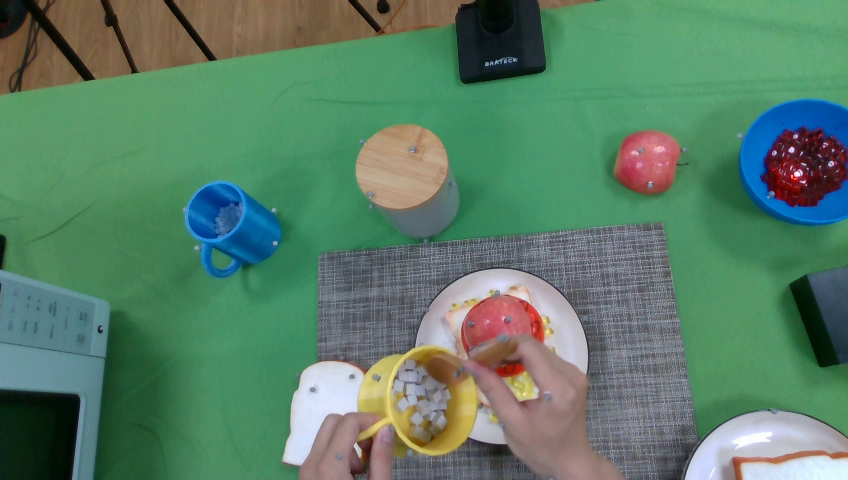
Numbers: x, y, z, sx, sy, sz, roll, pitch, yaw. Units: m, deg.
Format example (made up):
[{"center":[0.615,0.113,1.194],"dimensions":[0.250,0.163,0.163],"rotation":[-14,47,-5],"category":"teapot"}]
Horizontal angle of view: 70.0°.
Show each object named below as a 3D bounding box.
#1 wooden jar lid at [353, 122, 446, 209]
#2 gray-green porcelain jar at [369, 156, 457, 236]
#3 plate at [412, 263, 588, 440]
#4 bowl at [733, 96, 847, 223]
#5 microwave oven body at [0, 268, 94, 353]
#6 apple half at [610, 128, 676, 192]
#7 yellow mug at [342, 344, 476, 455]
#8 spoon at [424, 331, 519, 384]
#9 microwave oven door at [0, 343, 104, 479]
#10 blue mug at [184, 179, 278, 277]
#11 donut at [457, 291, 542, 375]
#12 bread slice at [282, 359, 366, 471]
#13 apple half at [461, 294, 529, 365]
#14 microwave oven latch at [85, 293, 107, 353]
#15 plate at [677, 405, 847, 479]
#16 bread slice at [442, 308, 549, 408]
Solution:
[{"center":[-0.028,-0.084,0.700],"dimensions":[0.108,0.021,0.107],"rotation":[-2,72,7],"category":"wooden jar lid"},{"center":[-0.015,-0.067,0.760],"dimensions":[0.105,0.127,0.105],"rotation":[-3,73,10],"category":"gray-green porcelain jar"},{"center":[0.089,0.132,0.729],"dimensions":[0.207,0.039,0.206],"rotation":[-3,74,10],"category":"plate"},{"center":[0.434,-0.083,0.708],"dimensions":[0.151,0.077,0.150],"rotation":[-3,75,10],"category":"bowl"},{"center":[-0.604,0.268,0.698],"dimensions":[0.325,0.262,0.439],"rotation":[-5,74,9],"category":"microwave oven body"},{"center":[0.275,-0.106,0.757],"dimensions":[0.074,0.054,0.080],"rotation":[16,78,17],"category":"apple half"},{"center":[-0.020,0.160,0.578],"dimensions":[0.131,0.064,0.099],"rotation":[-21,84,-35],"category":"yellow mug"},{"center":[0.039,0.102,0.513],"dimensions":[0.041,0.194,0.021],"rotation":[36,68,-2],"category":"spoon"},{"center":[-0.460,0.294,0.659],"dimensions":[0.039,0.245,0.353],"rotation":[-5,73,9],"category":"microwave oven door"},{"center":[-0.257,-0.007,0.798],"dimensions":[0.082,0.106,0.116],"rotation":[15,78,14],"category":"blue mug"},{"center":[0.088,0.108,0.706],"dimensions":[0.099,0.048,0.098],"rotation":[-3,75,10],"category":"donut"},{"center":[-0.121,0.215,0.755],"dimensions":[0.105,0.019,0.131],"rotation":[2,77,9],"category":"bread slice"},{"center":[0.078,0.098,0.672],"dimensions":[0.081,0.033,0.081],"rotation":[-5,72,15],"category":"apple half"},{"center":[-0.449,0.112,0.815],"dimensions":[0.030,0.030,0.078],"rotation":[-2,75,10],"category":"microwave oven latch"},{"center":[0.373,0.281,0.639],"dimensions":[0.209,0.038,0.208],"rotation":[-3,74,10],"category":"plate"},{"center":[0.092,0.134,0.738],"dimensions":[0.107,0.018,0.133],"rotation":[-22,64,0],"category":"bread slice"}]
